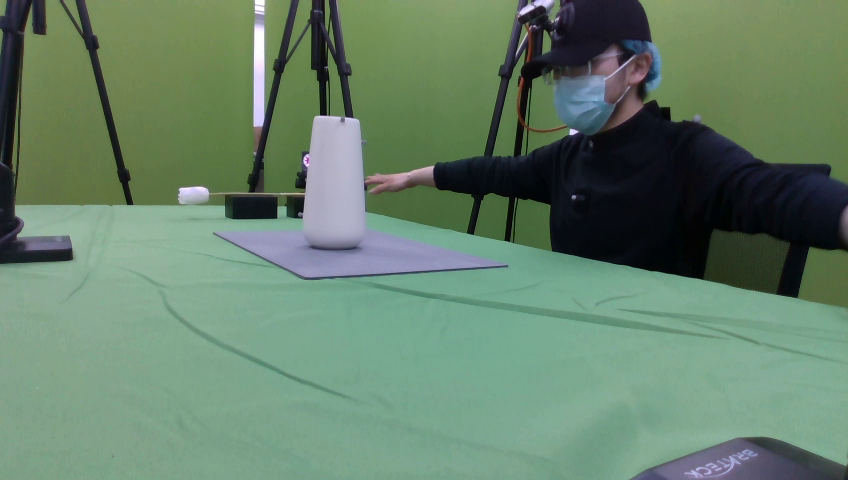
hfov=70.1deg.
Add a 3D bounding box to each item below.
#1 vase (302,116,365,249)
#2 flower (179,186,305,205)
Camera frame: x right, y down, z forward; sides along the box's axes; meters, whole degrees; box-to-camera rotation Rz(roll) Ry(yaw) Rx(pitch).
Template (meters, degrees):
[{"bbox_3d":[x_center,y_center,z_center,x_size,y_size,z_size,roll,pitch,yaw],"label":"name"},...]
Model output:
[{"bbox_3d":[-0.139,-0.088,0.930,0.098,0.200,0.098,1,9,0],"label":"vase"},{"bbox_3d":[-0.361,-0.110,1.365,0.364,0.038,0.044,-7,-6,-33],"label":"flower"}]
